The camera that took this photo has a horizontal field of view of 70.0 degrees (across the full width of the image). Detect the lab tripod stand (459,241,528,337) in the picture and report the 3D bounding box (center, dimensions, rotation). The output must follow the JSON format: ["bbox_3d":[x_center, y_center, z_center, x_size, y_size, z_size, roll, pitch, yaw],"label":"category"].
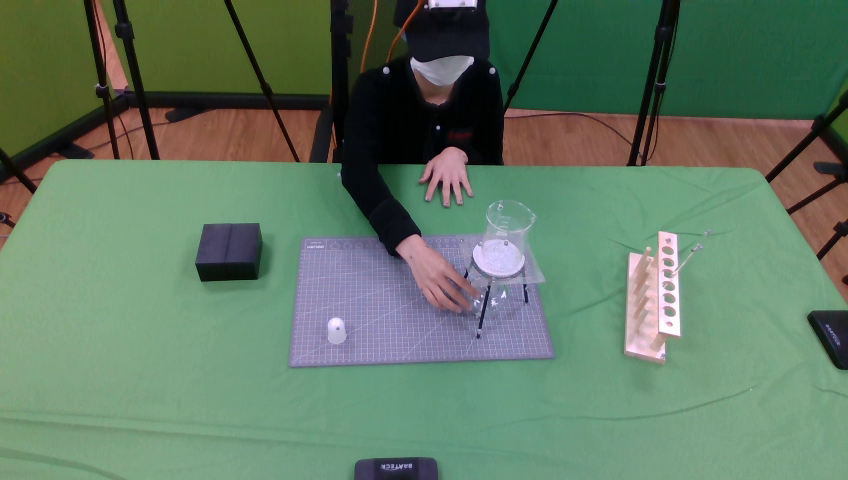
[{"bbox_3d":[0.122,0.075,1.054,0.148,0.132,0.147,3,44,-3],"label":"lab tripod stand"}]

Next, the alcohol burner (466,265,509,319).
[{"bbox_3d":[0.113,0.083,1.060,0.078,0.119,0.077,3,48,-3],"label":"alcohol burner"}]

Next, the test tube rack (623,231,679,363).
[{"bbox_3d":[0.410,0.094,1.096,0.066,0.085,0.241,13,46,9],"label":"test tube rack"}]

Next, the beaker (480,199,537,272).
[{"bbox_3d":[0.132,-0.004,0.973,0.084,0.101,0.073,-4,47,-9],"label":"beaker"}]

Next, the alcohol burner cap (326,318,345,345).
[{"bbox_3d":[-0.149,0.151,1.023,0.034,0.048,0.033,3,46,-2],"label":"alcohol burner cap"}]

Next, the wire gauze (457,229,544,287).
[{"bbox_3d":[0.125,0.030,1.008,0.125,0.011,0.120,-3,48,-11],"label":"wire gauze"}]

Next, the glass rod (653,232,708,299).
[{"bbox_3d":[0.441,0.049,1.050,0.008,0.200,0.008,4,52,-5],"label":"glass rod"}]
